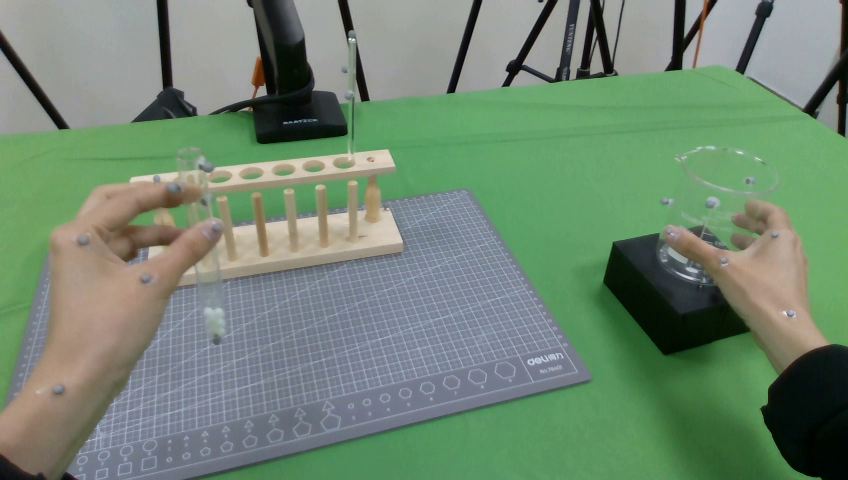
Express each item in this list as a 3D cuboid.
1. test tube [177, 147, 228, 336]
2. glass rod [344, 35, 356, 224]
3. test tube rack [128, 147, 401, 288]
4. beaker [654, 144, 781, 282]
[{"bbox_3d":[-0.139,0.008,0.385,0.017,0.151,0.017,5,39,-4],"label":"test tube"},{"bbox_3d":[-0.072,-0.095,0.575,0.008,0.201,0.008,5,39,-4],"label":"glass rod"},{"bbox_3d":[-0.147,-0.025,0.590,0.243,0.086,0.066,-8,40,-13],"label":"test tube rack"},{"bbox_3d":[0.240,-0.021,0.515,0.083,0.101,0.074,30,46,32],"label":"beaker"}]
